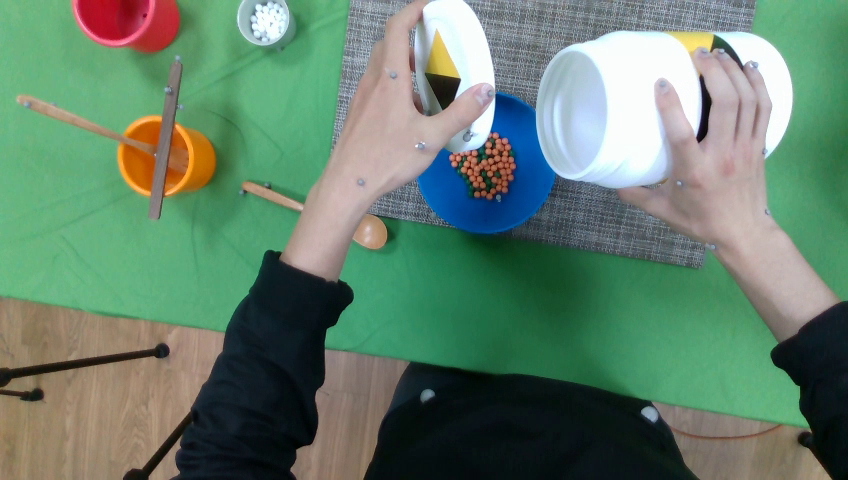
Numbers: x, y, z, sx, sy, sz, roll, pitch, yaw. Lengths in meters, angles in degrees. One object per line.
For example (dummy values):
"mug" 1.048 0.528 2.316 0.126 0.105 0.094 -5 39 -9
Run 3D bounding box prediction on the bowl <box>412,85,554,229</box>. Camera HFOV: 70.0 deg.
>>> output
"bowl" 0.066 -0.090 0.671 0.151 0.077 0.151 1 97 6

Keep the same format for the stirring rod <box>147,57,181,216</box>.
"stirring rod" -0.287 -0.113 0.668 0.014 0.006 0.176 11 97 3

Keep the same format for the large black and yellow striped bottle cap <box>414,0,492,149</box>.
"large black and yellow striped bottle cap" 0.020 -0.129 0.475 0.019 0.114 0.115 -15 94 -17

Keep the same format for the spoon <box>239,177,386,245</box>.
"spoon" -0.135 -0.041 0.728 0.193 0.021 0.042 20 111 2

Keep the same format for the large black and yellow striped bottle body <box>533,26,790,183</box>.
"large black and yellow striped bottle body" 0.202 -0.119 0.534 0.184 0.130 0.131 -8 95 -20

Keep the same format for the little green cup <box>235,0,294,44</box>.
"little green cup" -0.182 -0.257 0.700 0.061 0.038 0.061 1 97 7

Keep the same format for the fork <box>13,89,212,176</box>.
"fork" -0.338 -0.118 0.675 0.209 0.018 0.028 22 103 -40
